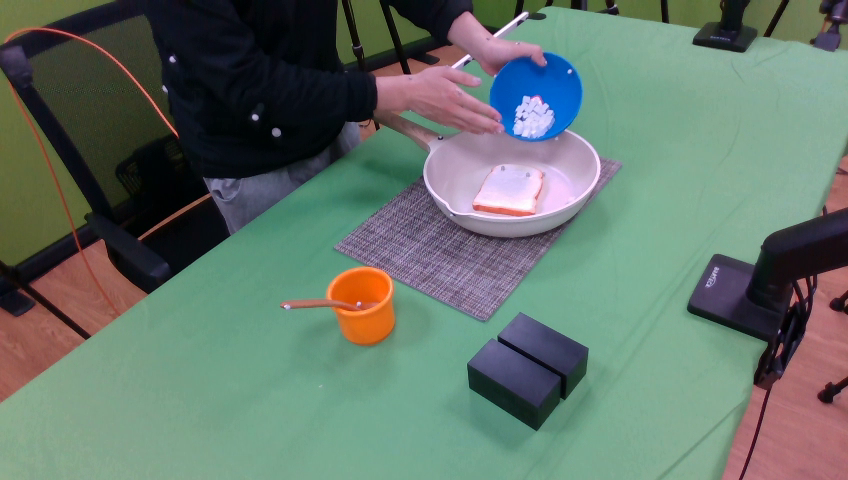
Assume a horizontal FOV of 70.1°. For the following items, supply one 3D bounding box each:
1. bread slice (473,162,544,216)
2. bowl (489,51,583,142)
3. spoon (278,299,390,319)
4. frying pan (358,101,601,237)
[{"bbox_3d":[0.150,-0.088,1.041,0.106,0.018,0.134,7,45,15],"label":"bread slice"},{"bbox_3d":[0.188,-0.227,1.009,0.151,0.077,0.151,-2,80,13],"label":"bowl"},{"bbox_3d":[-0.113,0.086,0.787,0.041,0.021,0.195,29,7,36],"label":"spoon"},{"bbox_3d":[0.067,-0.153,1.067,0.484,0.103,0.308,32,52,26],"label":"frying pan"}]
